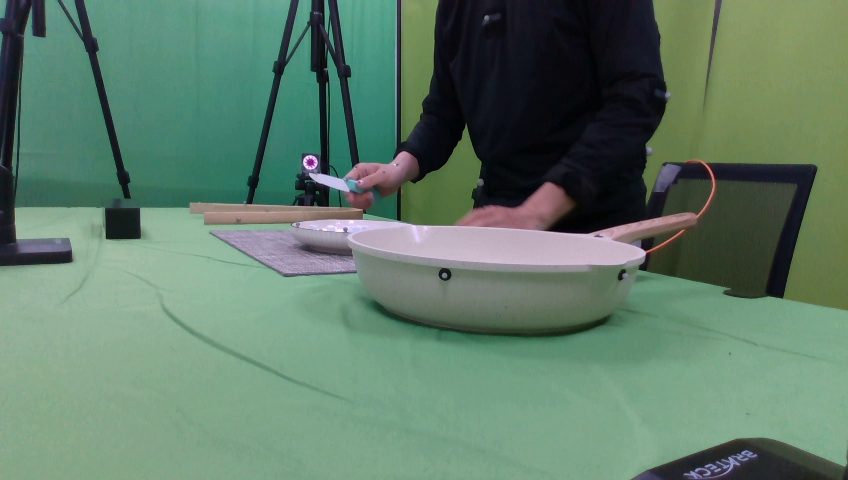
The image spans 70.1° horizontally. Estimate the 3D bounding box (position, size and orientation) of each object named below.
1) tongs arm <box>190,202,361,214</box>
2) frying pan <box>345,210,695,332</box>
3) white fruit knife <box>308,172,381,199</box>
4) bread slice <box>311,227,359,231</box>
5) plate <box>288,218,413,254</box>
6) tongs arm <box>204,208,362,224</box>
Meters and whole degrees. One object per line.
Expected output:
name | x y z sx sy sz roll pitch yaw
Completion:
tongs arm | -0.333 -0.068 1.403 0.387 0.026 0.050 0 9 -27
frying pan | 0.153 0.009 0.668 0.490 0.102 0.305 -12 15 -32
white fruit knife | -0.133 -0.095 1.033 0.016 0.027 0.208 -24 -14 23
bread slice | -0.115 -0.006 0.950 0.134 0.018 0.107 3 6 -7
plate | -0.109 -0.007 0.956 0.208 0.039 0.207 2 7 0
tongs arm | -0.293 -0.054 1.337 0.390 0.028 0.028 -4 7 -40
